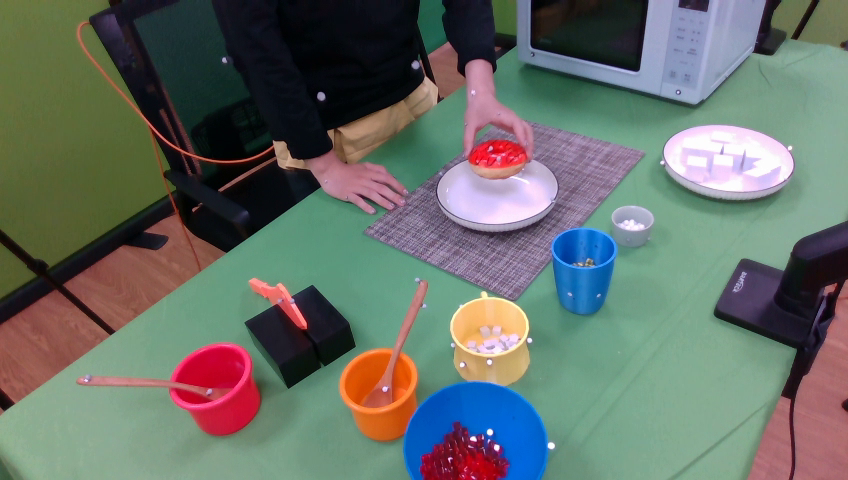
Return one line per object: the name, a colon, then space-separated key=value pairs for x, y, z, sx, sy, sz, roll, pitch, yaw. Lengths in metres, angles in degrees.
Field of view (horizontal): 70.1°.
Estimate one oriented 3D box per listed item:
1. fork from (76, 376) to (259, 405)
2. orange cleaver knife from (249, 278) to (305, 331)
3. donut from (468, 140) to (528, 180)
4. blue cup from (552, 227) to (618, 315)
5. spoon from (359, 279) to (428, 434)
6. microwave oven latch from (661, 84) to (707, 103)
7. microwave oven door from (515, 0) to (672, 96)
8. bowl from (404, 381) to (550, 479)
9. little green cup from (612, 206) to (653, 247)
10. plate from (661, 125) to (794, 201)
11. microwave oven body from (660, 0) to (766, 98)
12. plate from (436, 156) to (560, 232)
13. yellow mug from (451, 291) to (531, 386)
fork: x=-0.295 y=0.176 z=0.716 sx=0.209 sy=0.018 sz=0.028 roll=19 pitch=26 yaw=-36
orange cleaver knife: x=-0.210 y=0.088 z=0.856 sx=0.012 sy=0.077 sz=0.210 roll=-28 pitch=15 yaw=-25
donut: x=0.120 y=-0.132 z=0.992 sx=0.099 sy=0.048 sz=0.098 roll=-6 pitch=32 yaw=4
blue cup: x=0.218 y=0.047 z=0.825 sx=0.092 sy=0.101 sz=0.092 roll=-6 pitch=39 yaw=5
spoon: x=-0.032 y=0.138 z=0.719 sx=0.041 sy=0.193 sz=0.022 roll=22 pitch=4 yaw=29
microwave oven latch: x=0.517 y=-0.296 z=1.204 sx=0.078 sy=0.029 sz=0.030 roll=27 pitch=52 yaw=35
microwave oven door: x=0.344 y=-0.455 z=1.260 sx=0.353 sy=0.245 sz=0.039 roll=26 pitch=51 yaw=33
bowl: x=0.058 y=0.235 z=0.645 sx=0.151 sy=0.077 sz=0.150 roll=-4 pitch=39 yaw=4
little green cup: x=0.321 y=-0.019 z=0.936 sx=0.061 sy=0.039 sz=0.061 roll=-4 pitch=41 yaw=4
plate: x=0.513 y=-0.128 z=1.035 sx=0.207 sy=0.039 sz=0.206 roll=-4 pitch=40 yaw=4
microwave oven body: x=0.472 y=-0.513 z=1.317 sx=0.438 sy=0.261 sz=0.327 roll=26 pitch=51 yaw=34
plate: x=0.125 y=-0.078 z=1.029 sx=0.209 sy=0.038 sz=0.208 roll=-4 pitch=40 yaw=4
yellow mug: x=0.085 y=0.120 z=0.786 sx=0.100 sy=0.064 sz=0.130 roll=-7 pitch=39 yaw=1
